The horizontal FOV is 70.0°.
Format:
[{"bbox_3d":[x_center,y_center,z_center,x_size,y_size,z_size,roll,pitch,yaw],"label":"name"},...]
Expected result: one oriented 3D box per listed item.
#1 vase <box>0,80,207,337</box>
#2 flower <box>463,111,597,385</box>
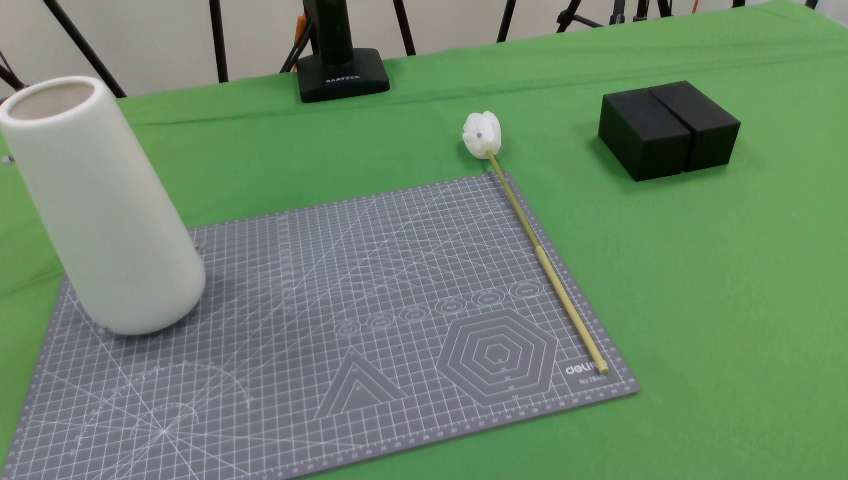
[{"bbox_3d":[-0.240,-0.018,0.469,0.098,0.202,0.097,-2,40,2],"label":"vase"},{"bbox_3d":[0.096,-0.014,0.581,0.044,0.038,0.357,-33,43,17],"label":"flower"}]
